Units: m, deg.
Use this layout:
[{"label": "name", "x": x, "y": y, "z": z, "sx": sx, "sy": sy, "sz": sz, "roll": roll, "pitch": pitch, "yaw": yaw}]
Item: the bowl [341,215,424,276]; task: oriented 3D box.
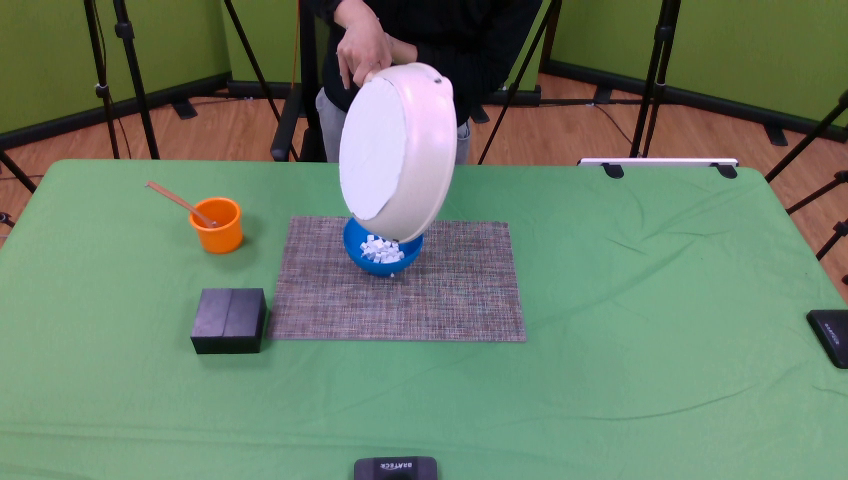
[{"label": "bowl", "x": -0.079, "y": 0.014, "z": 1.133, "sx": 0.151, "sy": 0.077, "sz": 0.150, "roll": 3, "pitch": 46, "yaw": -2}]

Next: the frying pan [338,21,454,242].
[{"label": "frying pan", "x": -0.077, "y": -0.223, "z": 1.029, "sx": 0.103, "sy": 0.307, "sz": 0.484, "roll": 11, "pitch": 47, "yaw": -27}]

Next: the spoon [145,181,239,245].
[{"label": "spoon", "x": -0.428, "y": -0.052, "z": 1.126, "sx": 0.021, "sy": 0.195, "sz": 0.041, "roll": -28, "pitch": 34, "yaw": 33}]
